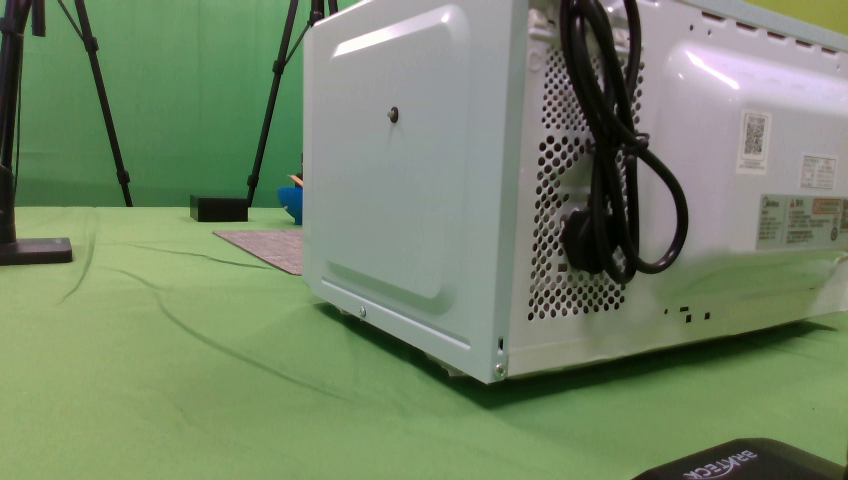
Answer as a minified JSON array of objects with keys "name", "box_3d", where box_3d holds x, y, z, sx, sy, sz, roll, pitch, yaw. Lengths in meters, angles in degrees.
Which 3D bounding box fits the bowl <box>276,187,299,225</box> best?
[{"name":"bowl","box_3d":[-0.241,-0.073,1.302,0.151,0.077,0.151,2,7,0]}]

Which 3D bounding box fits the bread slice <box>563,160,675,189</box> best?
[{"name":"bread slice","box_3d":[0.187,-0.063,0.577,0.104,0.019,0.132,7,6,15]}]

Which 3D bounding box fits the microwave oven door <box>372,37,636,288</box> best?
[{"name":"microwave oven door","box_3d":[0.109,-0.080,0.686,0.358,0.243,0.039,-2,9,-33]}]

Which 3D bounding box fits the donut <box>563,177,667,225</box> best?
[{"name":"donut","box_3d":[0.184,-0.037,0.587,0.099,0.048,0.099,-2,3,0]}]

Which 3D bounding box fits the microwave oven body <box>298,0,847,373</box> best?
[{"name":"microwave oven body","box_3d":[0.151,-0.055,0.542,0.444,0.260,0.324,-1,7,-33]}]

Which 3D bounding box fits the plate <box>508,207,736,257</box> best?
[{"name":"plate","box_3d":[0.186,-0.010,0.588,0.208,0.039,0.207,0,5,0]}]

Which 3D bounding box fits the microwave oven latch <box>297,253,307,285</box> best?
[{"name":"microwave oven latch","box_3d":[-0.082,0.027,0.582,0.079,0.029,0.030,-1,7,-33]}]

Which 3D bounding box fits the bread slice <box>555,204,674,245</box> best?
[{"name":"bread slice","box_3d":[0.184,-0.016,0.579,0.107,0.018,0.134,-5,9,9]}]

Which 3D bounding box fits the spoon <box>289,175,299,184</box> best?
[{"name":"spoon","box_3d":[-0.260,-0.110,1.343,0.042,0.021,0.192,-8,33,-30]}]
